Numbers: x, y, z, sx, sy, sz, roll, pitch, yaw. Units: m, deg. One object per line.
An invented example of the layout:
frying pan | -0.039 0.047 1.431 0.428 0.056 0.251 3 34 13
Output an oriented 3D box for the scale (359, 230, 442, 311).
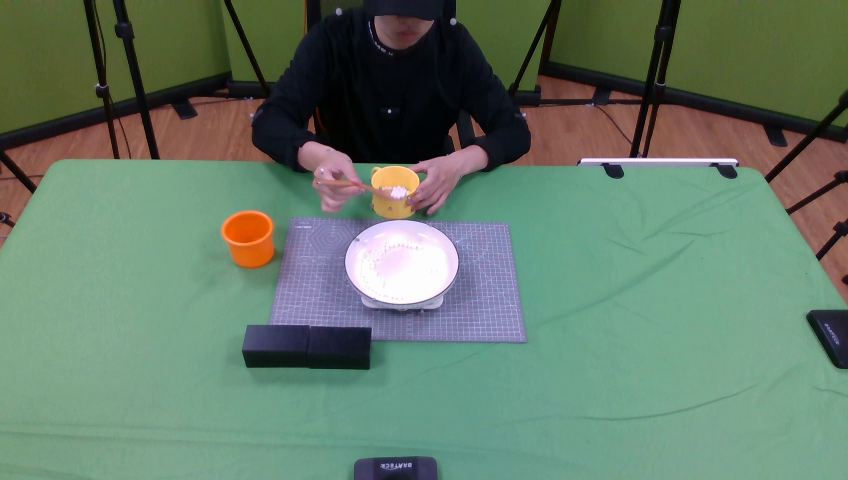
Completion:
scale | -0.043 0.048 1.138 0.149 0.032 0.199 2 46 -3

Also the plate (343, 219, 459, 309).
plate | -0.041 0.046 1.094 0.209 0.038 0.208 2 46 -2

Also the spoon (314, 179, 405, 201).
spoon | -0.111 -0.092 1.078 0.194 0.021 0.041 10 24 -43

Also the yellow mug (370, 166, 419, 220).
yellow mug | -0.072 -0.108 1.268 0.100 0.064 0.130 -30 54 -30
